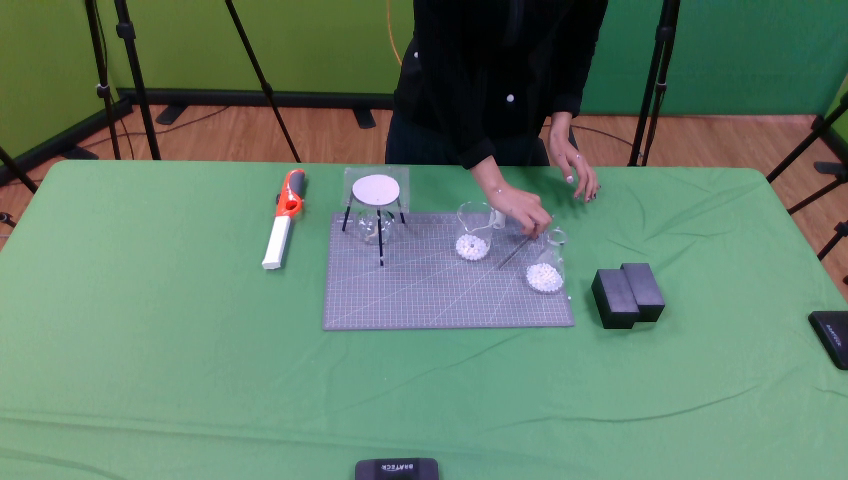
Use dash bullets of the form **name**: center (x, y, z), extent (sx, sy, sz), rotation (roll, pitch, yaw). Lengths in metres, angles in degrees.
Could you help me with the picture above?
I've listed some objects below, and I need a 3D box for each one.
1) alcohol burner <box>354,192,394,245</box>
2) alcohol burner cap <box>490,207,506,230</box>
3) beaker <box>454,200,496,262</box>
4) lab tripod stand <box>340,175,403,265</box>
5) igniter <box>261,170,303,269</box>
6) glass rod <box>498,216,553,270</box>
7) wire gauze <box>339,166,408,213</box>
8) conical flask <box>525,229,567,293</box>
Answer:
- **alcohol burner**: center (-0.096, -0.048, 1.171), extent (0.078, 0.119, 0.077), rotation (4, 45, -4)
- **alcohol burner cap**: center (0.153, -0.047, 1.241), extent (0.034, 0.048, 0.033), rotation (1, 48, -1)
- **beaker**: center (0.094, -0.012, 1.162), extent (0.074, 0.101, 0.083), rotation (17, 48, 12)
- **lab tripod stand**: center (-0.093, -0.050, 1.160), extent (0.148, 0.132, 0.147), rotation (2, 44, -2)
- **igniter**: center (-0.283, -0.050, 1.222), extent (0.057, 0.025, 0.275), rotation (-5, 45, 7)
- **glass rod**: center (0.207, 0.002, 1.219), extent (0.008, 0.008, 0.199), rotation (32, 52, 25)
- **wire gauze**: center (-0.091, -0.096, 1.110), extent (0.125, 0.011, 0.120), rotation (2, 45, -3)
- **conical flask**: center (0.231, 0.036, 1.110), extent (0.075, 0.122, 0.075), rotation (2, 46, -2)
